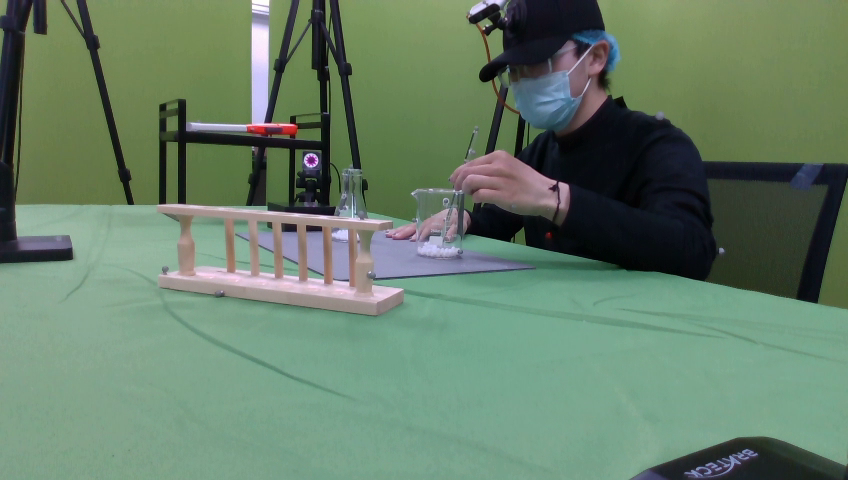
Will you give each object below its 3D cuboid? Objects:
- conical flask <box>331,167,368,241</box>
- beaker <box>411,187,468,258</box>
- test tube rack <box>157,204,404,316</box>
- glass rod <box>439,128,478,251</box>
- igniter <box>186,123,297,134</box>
[{"bbox_3d":[-0.123,-0.061,1.018,0.075,0.122,0.075,2,7,0],"label":"conical flask"},{"bbox_3d":[0.022,-0.027,0.891,0.084,0.100,0.074,1,7,-3],"label":"beaker"},{"bbox_3d":[-0.143,0.013,0.598,0.242,0.085,0.067,5,8,19],"label":"test tube rack"},{"bbox_3d":[0.049,-0.069,0.881,0.008,0.199,0.008,12,28,-6],"label":"glass rod"},{"bbox_3d":[-0.392,-0.247,1.341,0.057,0.025,0.278,9,14,38],"label":"igniter"}]
